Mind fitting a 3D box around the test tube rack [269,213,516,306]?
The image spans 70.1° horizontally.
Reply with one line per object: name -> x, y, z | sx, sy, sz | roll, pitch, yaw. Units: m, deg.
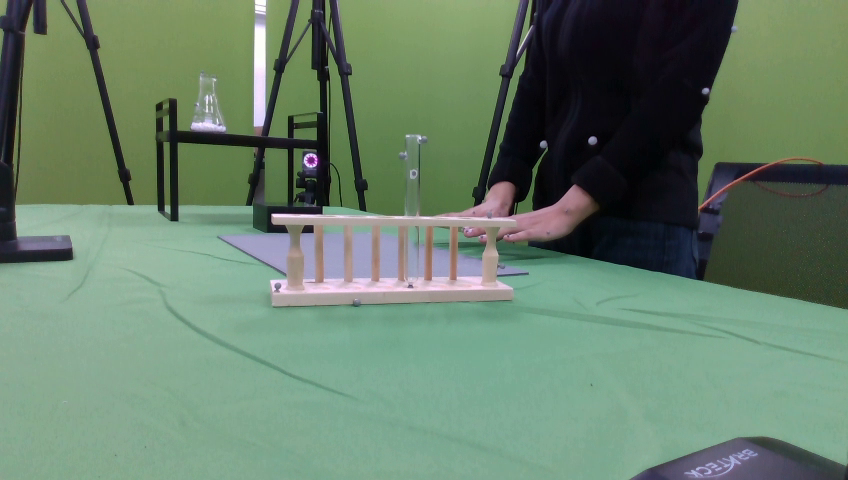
test tube rack -> -0.032, 0.015, 0.617 | 0.243, 0.085, 0.066 | 0, 8, -17

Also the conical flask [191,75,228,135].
conical flask -> -0.457, -0.286, 1.286 | 0.075, 0.122, 0.075 | 2, 7, 0

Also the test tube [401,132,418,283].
test tube -> -0.014, -0.031, 0.596 | 0.017, 0.150, 0.017 | 1, 11, 0
